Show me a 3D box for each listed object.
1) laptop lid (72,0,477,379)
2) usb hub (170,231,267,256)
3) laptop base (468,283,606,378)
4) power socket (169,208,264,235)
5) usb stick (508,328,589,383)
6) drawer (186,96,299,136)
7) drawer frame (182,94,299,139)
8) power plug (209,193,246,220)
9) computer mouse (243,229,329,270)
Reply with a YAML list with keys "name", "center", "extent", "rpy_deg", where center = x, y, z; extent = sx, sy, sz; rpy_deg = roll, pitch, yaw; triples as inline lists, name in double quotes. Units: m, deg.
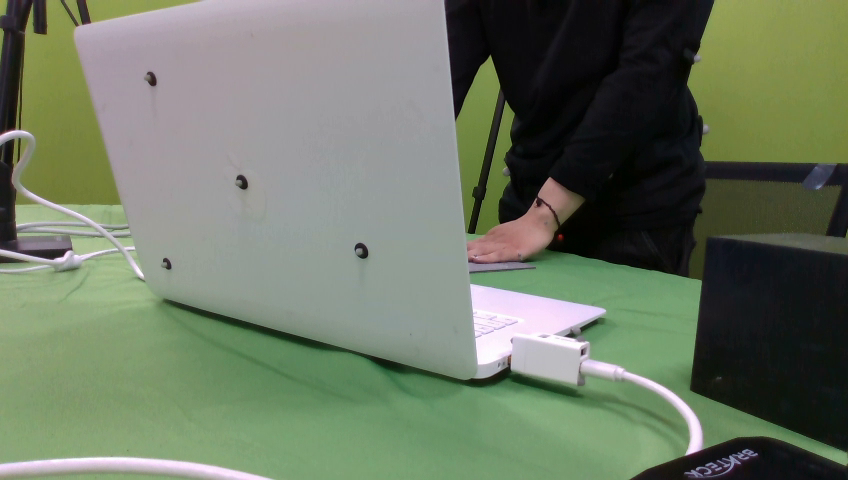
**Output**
- name: "laptop lid"
  center: [-0.125, -0.042, 0.418]
  extent: [0.355, 0.241, 0.013]
  rpy_deg: [9, 25, 34]
- name: "usb hub"
  center: [-0.290, 0.005, 0.862]
  extent: [0.049, 0.025, 0.126]
  rpy_deg: [10, 11, 42]
- name: "laptop base"
  center: [-0.042, 0.058, 0.554]
  extent: [0.352, 0.023, 0.237]
  rpy_deg: [7, 7, 35]
- name: "power socket"
  center: [-0.381, -0.038, 1.128]
  extent: [0.072, 0.032, 0.227]
  rpy_deg: [4, 8, 16]
- name: "usb stick"
  center: [0.072, 0.072, 0.383]
  extent: [0.059, 0.027, 0.021]
  rpy_deg: [2, 2, 34]
- name: "drawer"
  center: [-0.415, -0.277, 1.371]
  extent: [0.195, 0.073, 0.210]
  rpy_deg: [-4, 10, -35]
- name: "drawer frame"
  center: [-0.418, -0.276, 1.371]
  extent: [0.203, 0.082, 0.212]
  rpy_deg: [-4, 9, -36]
- name: "power plug"
  center: [-0.388, -0.067, 1.205]
  extent: [0.072, 0.052, 0.035]
  rpy_deg: [3, 8, 26]
- name: "computer mouse"
  center: [-0.177, 0.010, 0.786]
  extent: [0.062, 0.041, 0.117]
  rpy_deg: [6, 14, 24]
